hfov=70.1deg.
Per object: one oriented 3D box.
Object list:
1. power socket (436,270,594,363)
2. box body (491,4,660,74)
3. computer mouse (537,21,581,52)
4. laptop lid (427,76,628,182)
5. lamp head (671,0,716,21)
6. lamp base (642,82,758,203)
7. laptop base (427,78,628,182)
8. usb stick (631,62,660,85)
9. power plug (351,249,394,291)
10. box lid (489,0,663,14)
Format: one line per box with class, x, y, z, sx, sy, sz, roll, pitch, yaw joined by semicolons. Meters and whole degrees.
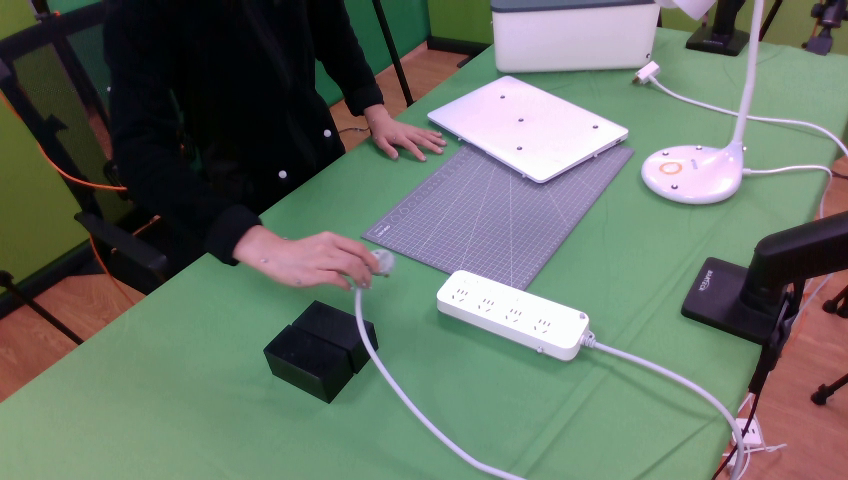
power socket;0.118;0.101;0.832;0.225;0.033;0.072;19;48;27
box body;0.346;-0.520;1.429;0.363;0.161;0.253;0;41;9
computer mouse;0.335;-0.503;1.487;0.118;0.041;0.062;22;18;-28
laptop lid;0.196;-0.237;1.213;0.242;0.013;0.353;-29;44;-21
lamp head;0.375;-0.373;0.807;0.122;0.113;0.112;-40;27;32
lamp base;0.464;-0.174;0.992;0.179;0.181;0.159;-5;41;-2
laptop base;0.199;-0.228;1.222;0.236;0.023;0.351;-31;45;-22
usb stick;0.480;-0.358;1.317;0.059;0.022;0.027;-35;55;14
power plug;-0.070;0.042;0.779;0.035;0.053;0.072;33;72;33
box lid;0.340;-0.575;1.380;0.371;0.015;0.262;0;41;9
